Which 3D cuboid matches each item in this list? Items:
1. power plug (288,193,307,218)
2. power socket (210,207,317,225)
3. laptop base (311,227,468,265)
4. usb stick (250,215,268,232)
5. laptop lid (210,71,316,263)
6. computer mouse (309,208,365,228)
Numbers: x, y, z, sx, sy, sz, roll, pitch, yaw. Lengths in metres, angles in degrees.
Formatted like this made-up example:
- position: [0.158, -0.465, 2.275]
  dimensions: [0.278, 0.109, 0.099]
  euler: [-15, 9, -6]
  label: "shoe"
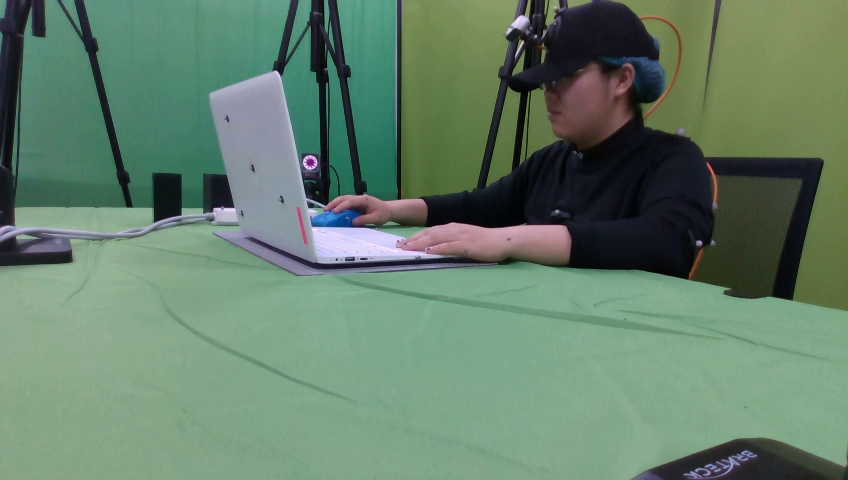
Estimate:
- position: [-0.281, -0.076, 1.340]
  dimensions: [0.035, 0.052, 0.072]
  euler: [3, 7, -19]
  label: "power plug"
- position: [-0.334, -0.051, 1.281]
  dimensions: [0.228, 0.032, 0.072]
  euler: [-1, 8, -28]
  label: "power socket"
- position: [-0.123, 0.007, 0.951]
  dimensions: [0.237, 0.023, 0.352]
  euler: [2, 6, -32]
  label: "laptop base"
- position: [-0.290, -0.028, 1.069]
  dimensions: [0.021, 0.027, 0.059]
  euler: [0, 11, -30]
  label: "usb stick"
- position: [-0.240, -0.104, 0.861]
  dimensions: [0.013, 0.241, 0.355]
  euler: [-16, 17, -29]
  label: "laptop lid"
- position: [-0.185, -0.044, 1.270]
  dimensions: [0.118, 0.041, 0.062]
  euler: [-9, 15, -40]
  label: "computer mouse"
